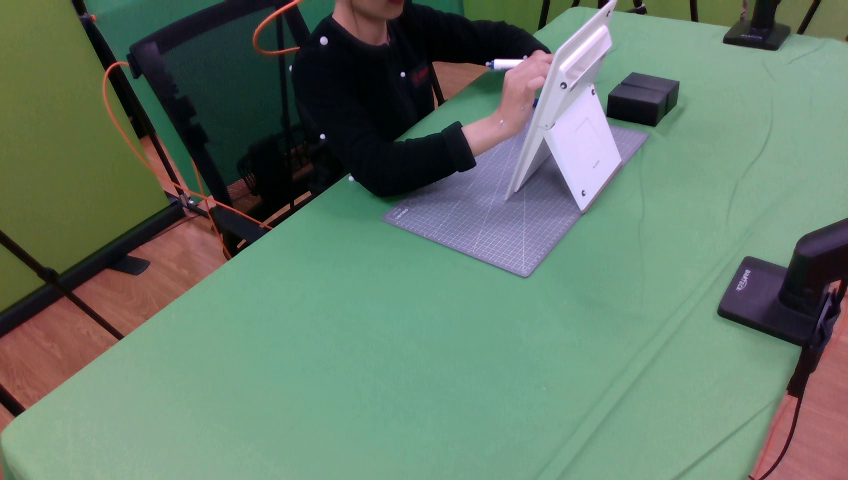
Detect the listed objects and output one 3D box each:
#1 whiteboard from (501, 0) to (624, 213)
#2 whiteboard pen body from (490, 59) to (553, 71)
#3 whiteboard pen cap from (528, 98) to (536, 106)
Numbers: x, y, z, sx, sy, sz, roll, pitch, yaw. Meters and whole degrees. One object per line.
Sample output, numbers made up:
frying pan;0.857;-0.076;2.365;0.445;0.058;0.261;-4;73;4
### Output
whiteboard;0.271;-0.189;0.977;0.143;0.306;0.218;34;53;16
whiteboard pen body;0.177;-0.285;0.985;0.140;0.017;0.017;4;42;10
whiteboard pen cap;0.239;-0.293;1.288;0.033;0.018;0.018;22;50;36
